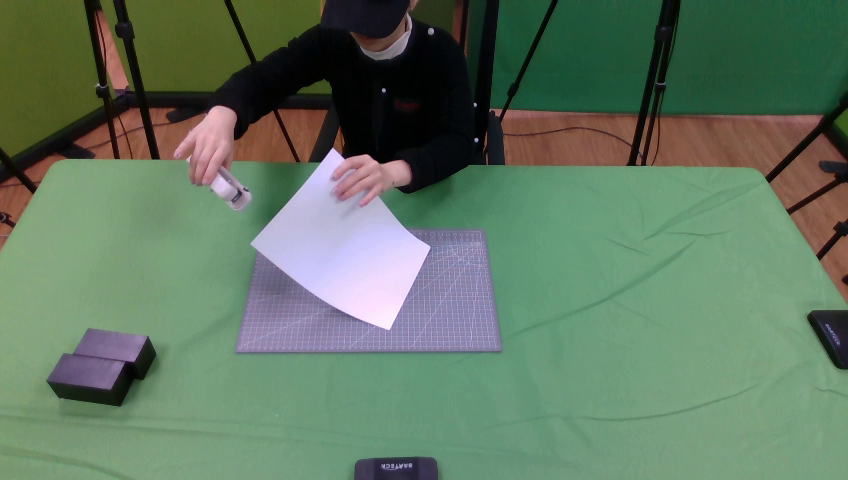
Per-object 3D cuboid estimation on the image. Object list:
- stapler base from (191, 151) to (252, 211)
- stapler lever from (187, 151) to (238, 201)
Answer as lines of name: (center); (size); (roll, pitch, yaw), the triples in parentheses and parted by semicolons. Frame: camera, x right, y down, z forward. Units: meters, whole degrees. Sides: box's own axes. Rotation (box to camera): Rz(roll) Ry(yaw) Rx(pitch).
stapler base: (-0.353, -0.104, 1.045); (0.130, 0.024, 0.041); (42, 86, 15)
stapler lever: (-0.359, -0.109, 1.021); (0.117, 0.040, 0.027); (42, 86, 14)
